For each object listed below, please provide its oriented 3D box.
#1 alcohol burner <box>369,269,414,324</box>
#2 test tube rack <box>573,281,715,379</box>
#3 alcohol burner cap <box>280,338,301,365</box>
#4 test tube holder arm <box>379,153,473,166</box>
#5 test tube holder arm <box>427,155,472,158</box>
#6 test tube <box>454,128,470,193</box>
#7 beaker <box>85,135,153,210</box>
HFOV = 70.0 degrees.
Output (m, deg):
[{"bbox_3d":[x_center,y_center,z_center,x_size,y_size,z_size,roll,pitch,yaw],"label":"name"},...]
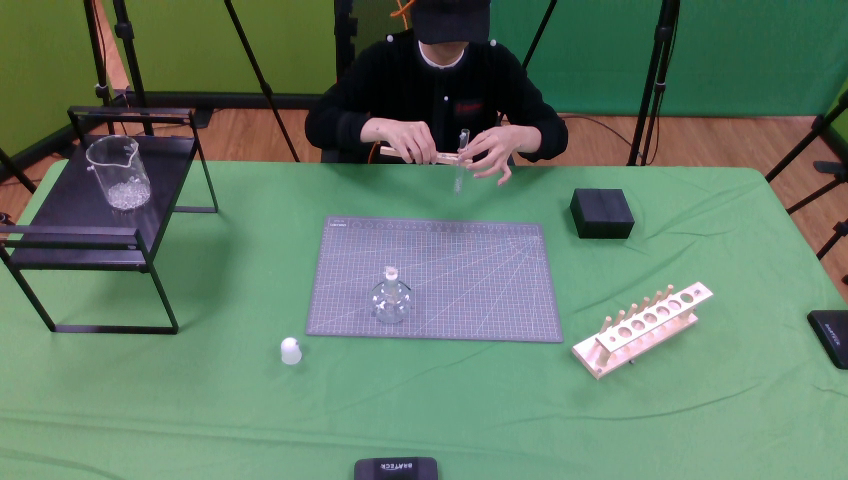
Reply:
[{"bbox_3d":[-0.056,0.089,1.037,0.078,0.120,0.077,1,47,-1],"label":"alcohol burner"},{"bbox_3d":[0.378,0.140,1.038,0.242,0.085,0.066,-22,51,-23],"label":"test tube rack"},{"bbox_3d":[-0.220,0.179,0.993,0.034,0.048,0.033,2,46,-2],"label":"alcohol burner cap"},{"bbox_3d":[0.004,-0.154,1.151,0.179,0.015,0.013,2,21,-7],"label":"test tube holder arm"},{"bbox_3d":[0.048,-0.155,1.163,0.088,0.015,0.010,1,21,-11],"label":"test tube holder arm"},{"bbox_3d":[0.073,-0.150,1.166,0.017,0.151,0.017,3,44,-2],"label":"test tube"},{"bbox_3d":[-0.475,-0.102,0.957,0.083,0.101,0.074,34,53,26],"label":"beaker"}]
